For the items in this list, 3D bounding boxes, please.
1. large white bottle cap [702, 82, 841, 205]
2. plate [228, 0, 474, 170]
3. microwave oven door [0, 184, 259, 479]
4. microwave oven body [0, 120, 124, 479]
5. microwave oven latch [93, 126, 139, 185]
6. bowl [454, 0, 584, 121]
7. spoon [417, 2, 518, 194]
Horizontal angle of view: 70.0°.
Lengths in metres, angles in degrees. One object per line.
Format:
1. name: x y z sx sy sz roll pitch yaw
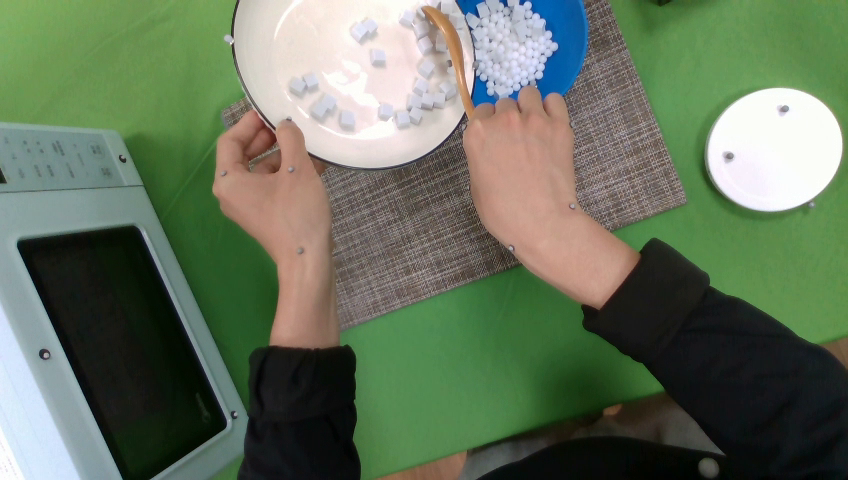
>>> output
1. large white bottle cap: 0.324 -0.089 0.568 0.114 0.018 0.115 2 99 16
2. plate: -0.060 -0.159 0.524 0.210 0.038 0.208 3 82 -19
3. microwave oven door: -0.329 0.111 0.660 0.039 0.244 0.355 -25 90 19
4. microwave oven body: -0.471 0.130 0.711 0.326 0.260 0.441 -24 91 18
5. microwave oven latch: -0.388 -0.102 0.752 0.030 0.029 0.079 -24 92 18
6. bowl: 0.081 -0.190 0.590 0.151 0.077 0.151 3 99 17
7. spoon: 0.035 -0.122 0.511 0.021 0.042 0.192 -21 76 4
